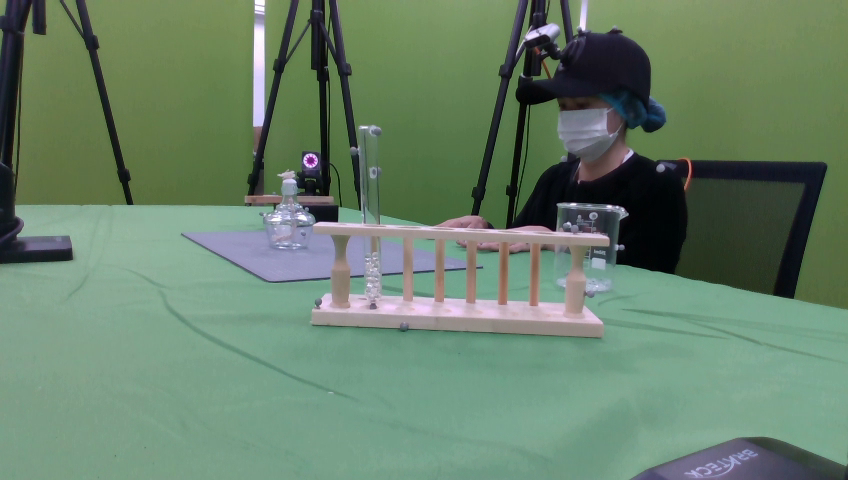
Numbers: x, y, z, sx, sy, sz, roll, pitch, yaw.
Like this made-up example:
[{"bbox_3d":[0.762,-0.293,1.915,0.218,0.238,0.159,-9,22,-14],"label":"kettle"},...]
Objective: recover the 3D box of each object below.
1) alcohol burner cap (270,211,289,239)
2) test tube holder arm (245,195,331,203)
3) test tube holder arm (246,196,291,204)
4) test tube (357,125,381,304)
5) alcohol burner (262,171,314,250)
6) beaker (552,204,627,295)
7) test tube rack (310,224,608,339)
[{"bbox_3d":[-0.246,-0.026,1.035,0.034,0.048,0.034,2,8,0],"label":"alcohol burner cap"},{"bbox_3d":[-0.266,-0.080,1.199,0.179,0.015,0.013,-3,19,-37],"label":"test tube holder arm"},{"bbox_3d":[-0.300,-0.077,1.168,0.088,0.015,0.010,-3,19,-36],"label":"test tube holder arm"},{"bbox_3d":[-0.045,-0.019,0.501,0.017,0.150,0.017,-1,12,0],"label":"test tube"},{"bbox_3d":[-0.205,-0.045,0.913,0.078,0.119,0.078,1,9,0],"label":"alcohol burner"},{"bbox_3d":[0.191,0.010,0.708,0.083,0.100,0.074,8,9,33],"label":"beaker"},{"bbox_3d":[0.028,0.032,0.528,0.242,0.085,0.067,3,7,0],"label":"test tube rack"}]
